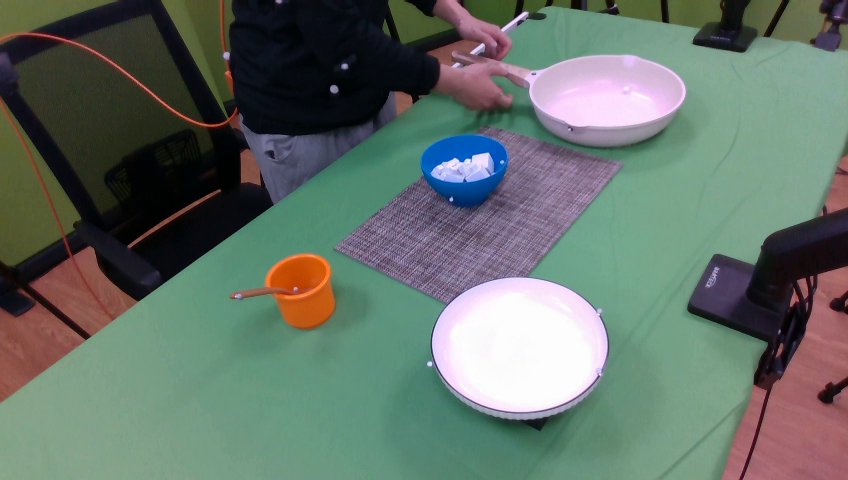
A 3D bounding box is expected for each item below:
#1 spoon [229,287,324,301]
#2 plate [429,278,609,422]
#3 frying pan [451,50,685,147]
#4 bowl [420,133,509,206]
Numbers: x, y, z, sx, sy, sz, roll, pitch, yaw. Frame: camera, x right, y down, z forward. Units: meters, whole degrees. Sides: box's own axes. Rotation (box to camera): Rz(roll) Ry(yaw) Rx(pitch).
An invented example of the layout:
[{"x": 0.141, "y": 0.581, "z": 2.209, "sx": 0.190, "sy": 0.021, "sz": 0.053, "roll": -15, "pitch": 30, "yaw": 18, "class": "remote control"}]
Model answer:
[{"x": -0.197, "y": 0.071, "z": 0.816, "sx": 0.041, "sy": 0.195, "sz": 0.021, "roll": 12, "pitch": 88, "yaw": 23, "class": "spoon"}, {"x": 0.111, "y": 0.129, "z": 0.716, "sx": 0.207, "sy": 0.039, "sz": 0.206, "roll": -5, "pitch": 39, "yaw": 4, "class": "plate"}, {"x": 0.269, "y": -0.316, "z": 1.233, "sx": 0.485, "sy": 0.103, "sz": 0.307, "roll": 26, "pitch": 49, "yaw": 21, "class": "frying pan"}, {"x": 0.071, "y": -0.112, "z": 1.038, "sx": 0.151, "sy": 0.077, "sz": 0.150, "roll": -4, "pitch": 40, "yaw": 4, "class": "bowl"}]
